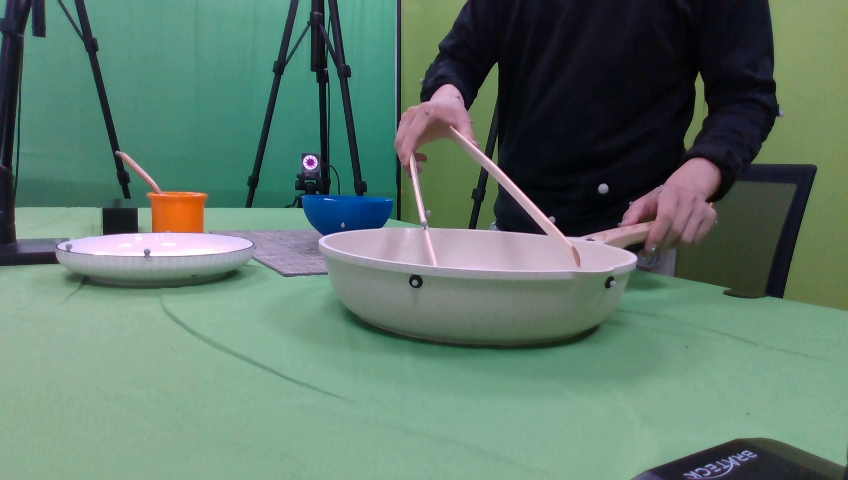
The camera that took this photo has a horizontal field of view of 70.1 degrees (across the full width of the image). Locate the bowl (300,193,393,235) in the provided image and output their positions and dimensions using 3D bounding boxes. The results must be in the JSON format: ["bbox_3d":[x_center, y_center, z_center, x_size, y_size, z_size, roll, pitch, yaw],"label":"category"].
[{"bbox_3d":[-0.128,-0.034,0.995,0.151,0.077,0.151,3,7,0],"label":"bowl"}]

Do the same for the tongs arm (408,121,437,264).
[{"bbox_3d":[0.012,-0.050,0.682,0.051,0.026,0.383,-21,31,4],"label":"tongs arm"}]

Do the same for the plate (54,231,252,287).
[{"bbox_3d":[-0.309,0.020,0.705,0.208,0.039,0.207,2,7,0],"label":"plate"}]

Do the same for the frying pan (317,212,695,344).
[{"bbox_3d":[0.133,0.013,0.630,0.490,0.102,0.305,-12,14,-31],"label":"frying pan"}]

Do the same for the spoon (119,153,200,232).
[{"bbox_3d":[-0.439,-0.077,1.001,0.021,0.193,0.042,-43,-6,22],"label":"spoon"}]

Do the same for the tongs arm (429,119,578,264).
[{"bbox_3d":[0.074,-0.073,0.681,0.028,0.028,0.386,-29,32,-2],"label":"tongs arm"}]
